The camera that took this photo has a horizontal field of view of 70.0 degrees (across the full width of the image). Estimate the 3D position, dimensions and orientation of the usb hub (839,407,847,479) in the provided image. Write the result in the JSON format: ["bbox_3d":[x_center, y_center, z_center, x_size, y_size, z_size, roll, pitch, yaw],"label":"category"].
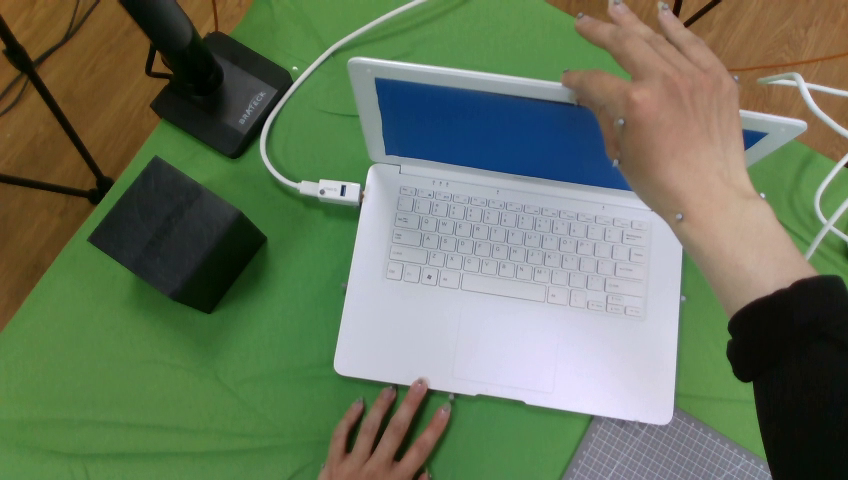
[{"bbox_3d":[0.459,0.211,0.620,0.049,0.025,0.124,16,77,3],"label":"usb hub"}]

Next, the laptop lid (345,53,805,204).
[{"bbox_3d":[0.112,-0.090,0.561,0.357,0.242,0.013,8,78,2],"label":"laptop lid"}]

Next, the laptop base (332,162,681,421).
[{"bbox_3d":[0.093,0.050,0.653,0.354,0.023,0.234,8,79,1],"label":"laptop base"}]

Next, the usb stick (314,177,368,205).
[{"bbox_3d":[-0.087,-0.052,0.656,0.059,0.027,0.021,9,79,-5],"label":"usb stick"}]
